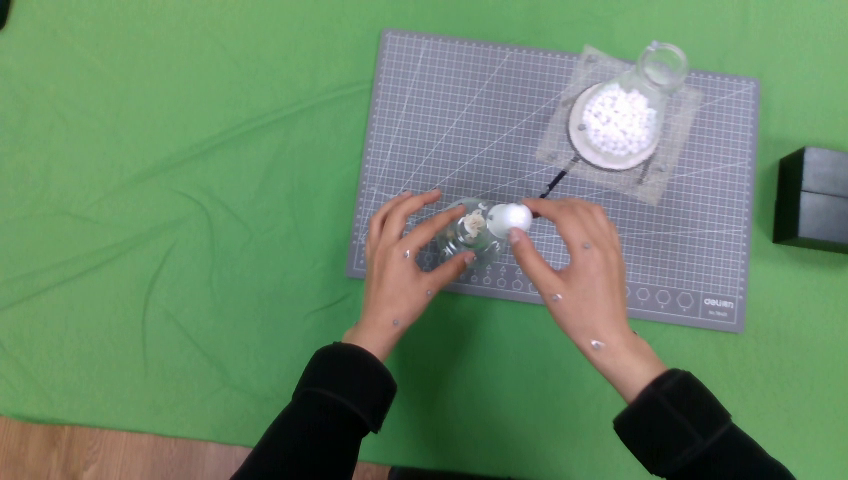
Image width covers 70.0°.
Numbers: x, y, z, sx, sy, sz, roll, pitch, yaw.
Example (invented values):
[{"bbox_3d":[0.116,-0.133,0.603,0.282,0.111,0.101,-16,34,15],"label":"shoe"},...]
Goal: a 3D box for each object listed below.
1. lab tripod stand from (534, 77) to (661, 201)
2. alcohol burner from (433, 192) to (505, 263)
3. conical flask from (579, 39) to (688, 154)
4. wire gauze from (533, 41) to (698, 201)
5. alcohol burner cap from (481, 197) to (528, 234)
[{"bbox_3d":[0.177,-0.106,0.634,0.148,0.132,0.148,0,82,1],"label":"lab tripod stand"},{"bbox_3d":[0.048,-0.014,0.631,0.078,0.119,0.077,0,86,0],"label":"alcohol burner"},{"bbox_3d":[0.180,-0.123,0.510,0.075,0.122,0.075,0,82,1],"label":"conical flask"},{"bbox_3d":[0.182,-0.112,0.568,0.121,0.011,0.125,25,81,2],"label":"wire gauze"},{"bbox_3d":[0.073,-0.023,0.539,0.034,0.048,0.034,1,87,-15],"label":"alcohol burner cap"}]
